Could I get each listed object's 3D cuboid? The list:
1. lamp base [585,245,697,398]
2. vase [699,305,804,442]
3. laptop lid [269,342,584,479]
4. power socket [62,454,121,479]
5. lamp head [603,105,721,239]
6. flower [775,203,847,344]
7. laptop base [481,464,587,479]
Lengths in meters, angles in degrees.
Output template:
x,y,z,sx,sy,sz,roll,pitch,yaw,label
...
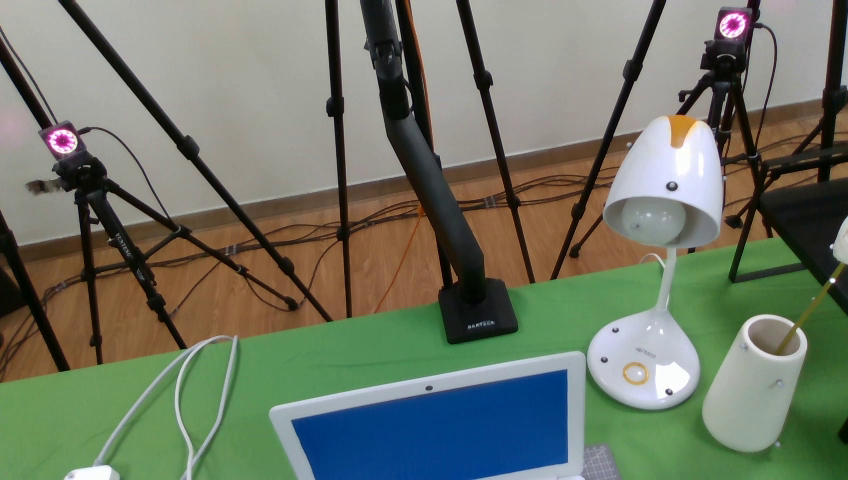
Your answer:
x,y,z,sx,sy,sz,roll,pitch,yaw,label
0.321,0.104,0.867,0.159,0.182,0.178,14,46,23,lamp base
0.413,0.170,0.767,0.098,0.202,0.097,-6,42,6,vase
0.017,0.231,0.727,0.357,0.244,0.013,-11,37,0,laptop lid
-0.468,0.391,0.805,0.072,0.033,0.224,-7,43,1,power socket
0.253,-0.073,0.626,0.112,0.113,0.122,12,65,21,lamp head
0.422,0.108,0.710,0.038,0.364,0.043,8,35,-6,flower
0.048,0.405,0.714,0.354,0.023,0.233,-10,47,-1,laptop base
